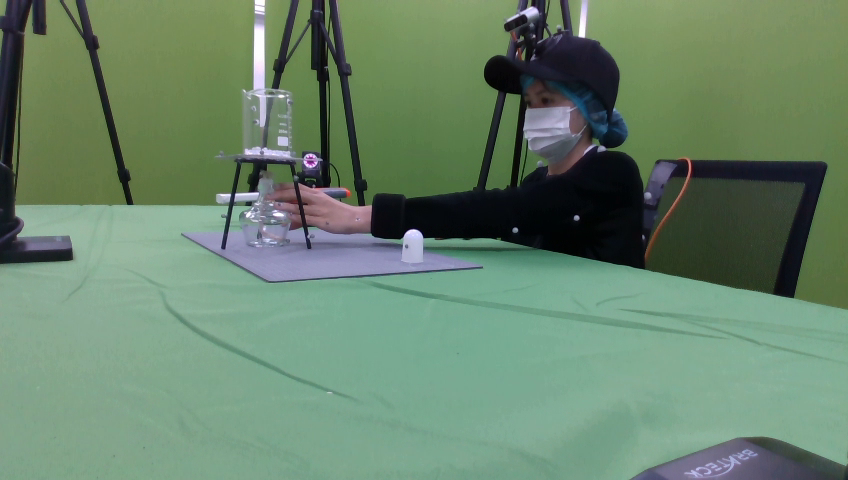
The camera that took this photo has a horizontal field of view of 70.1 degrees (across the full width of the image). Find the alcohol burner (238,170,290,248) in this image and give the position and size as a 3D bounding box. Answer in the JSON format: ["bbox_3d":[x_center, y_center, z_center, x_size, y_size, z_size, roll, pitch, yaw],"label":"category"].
[{"bbox_3d":[-0.244,-0.048,0.927,0.078,0.119,0.078,3,5,0],"label":"alcohol burner"}]

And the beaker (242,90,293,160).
[{"bbox_3d":[-0.235,-0.169,0.900,0.074,0.100,0.084,4,7,23],"label":"beaker"}]

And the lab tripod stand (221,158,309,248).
[{"bbox_3d":[-0.244,-0.057,0.917,0.148,0.131,0.148,1,7,0],"label":"lab tripod stand"}]

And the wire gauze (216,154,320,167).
[{"bbox_3d":[-0.236,-0.121,0.906,0.126,0.011,0.121,0,8,-33],"label":"wire gauze"}]

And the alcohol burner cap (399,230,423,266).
[{"bbox_3d":[-0.017,0.010,0.837,0.034,0.048,0.034,3,7,0],"label":"alcohol burner cap"}]

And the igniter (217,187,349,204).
[{"bbox_3d":[-0.285,-0.093,1.256,0.278,0.025,0.057,-6,12,-34],"label":"igniter"}]
